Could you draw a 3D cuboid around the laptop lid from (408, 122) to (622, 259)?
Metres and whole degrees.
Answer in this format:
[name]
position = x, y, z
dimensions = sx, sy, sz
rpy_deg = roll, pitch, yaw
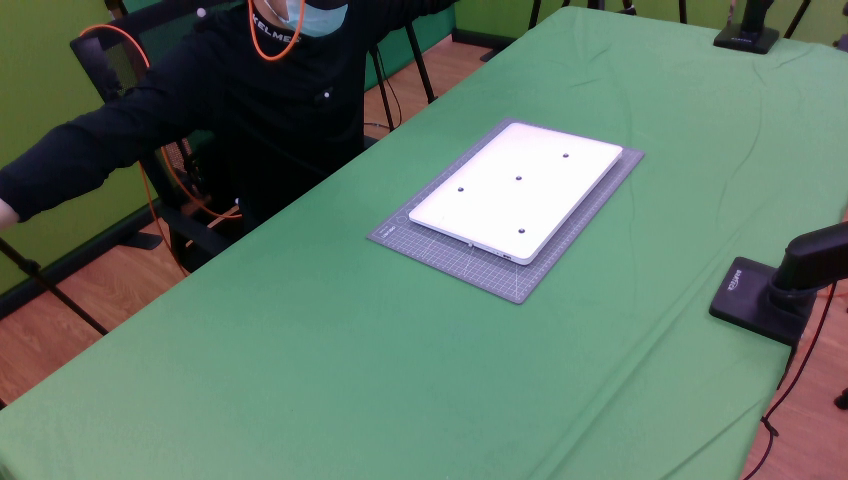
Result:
[laptop lid]
position = 0.165, -0.105, 1.050
dimensions = 0.240, 0.013, 0.358
rpy_deg = 22, 48, 33

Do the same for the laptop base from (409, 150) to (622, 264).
[laptop base]
position = 0.168, -0.095, 1.057
dimensions = 0.233, 0.023, 0.355
rpy_deg = 20, 47, 33
